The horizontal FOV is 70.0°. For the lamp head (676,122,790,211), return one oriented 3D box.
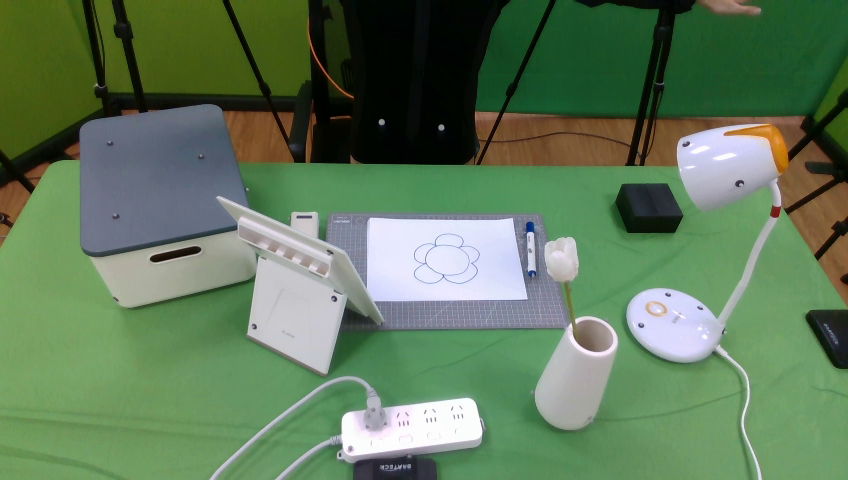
[{"bbox_3d":[0.423,-0.104,0.819,0.122,0.113,0.112,-13,33,40],"label":"lamp head"}]

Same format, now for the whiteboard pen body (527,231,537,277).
[{"bbox_3d":[0.211,0.018,1.191,0.017,0.017,0.140,6,44,2],"label":"whiteboard pen body"}]

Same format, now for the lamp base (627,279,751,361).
[{"bbox_3d":[0.460,0.100,1.027,0.178,0.181,0.160,27,51,17],"label":"lamp base"}]

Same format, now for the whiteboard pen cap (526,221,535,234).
[{"bbox_3d":[0.216,-0.022,1.234,0.018,0.018,0.033,6,44,1],"label":"whiteboard pen cap"}]

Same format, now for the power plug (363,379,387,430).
[{"bbox_3d":[-0.071,0.252,0.911,0.035,0.053,0.072,3,40,0],"label":"power plug"}]

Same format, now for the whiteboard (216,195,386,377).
[{"bbox_3d":[-0.212,0.094,0.938,0.216,0.307,0.143,24,70,17],"label":"whiteboard"}]

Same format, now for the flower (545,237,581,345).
[{"bbox_3d":[0.213,0.137,0.846,0.038,0.364,0.044,21,55,40],"label":"flower"}]

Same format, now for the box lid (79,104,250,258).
[{"bbox_3d":[-0.467,-0.121,1.075,0.264,0.015,0.369,-13,49,-17],"label":"box lid"}]

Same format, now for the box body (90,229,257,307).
[{"bbox_3d":[-0.471,-0.070,1.131,0.254,0.161,0.361,-14,49,-17],"label":"box body"}]

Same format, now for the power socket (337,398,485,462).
[{"bbox_3d":[-0.018,0.285,0.914,0.227,0.033,0.071,-4,46,-8],"label":"power socket"}]

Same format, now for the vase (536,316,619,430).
[{"bbox_3d":[0.229,0.200,0.901,0.098,0.201,0.097,3,46,-3],"label":"vase"}]

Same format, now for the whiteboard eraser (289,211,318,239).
[{"bbox_3d":[-0.234,-0.007,1.172,0.055,0.042,0.112,-3,47,-5],"label":"whiteboard eraser"}]
